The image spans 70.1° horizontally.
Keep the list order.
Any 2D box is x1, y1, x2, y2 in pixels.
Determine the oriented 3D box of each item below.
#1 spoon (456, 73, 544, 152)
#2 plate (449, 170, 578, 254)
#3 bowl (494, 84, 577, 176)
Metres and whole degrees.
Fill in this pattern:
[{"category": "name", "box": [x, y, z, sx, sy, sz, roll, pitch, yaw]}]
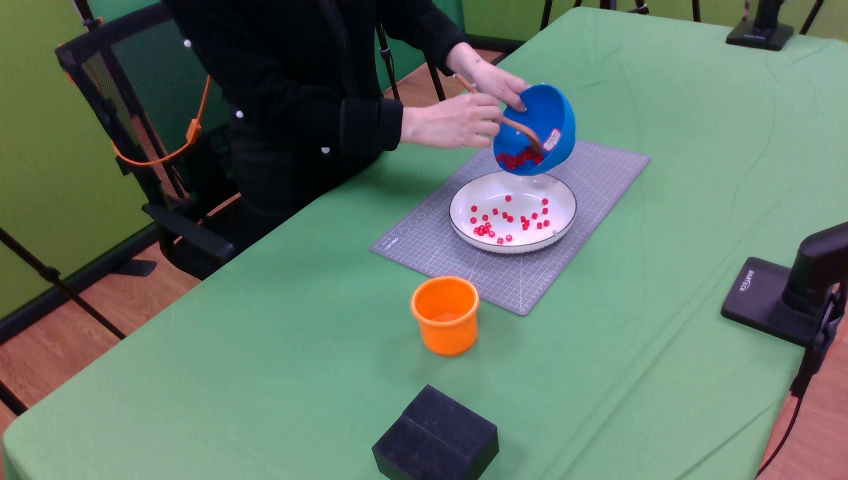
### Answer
[{"category": "spoon", "box": [0.119, -0.193, 0.925, 0.021, 0.195, 0.041, -54, 29, 13]}, {"category": "plate", "box": [0.146, -0.044, 0.993, 0.209, 0.038, 0.208, -5, 40, 5]}, {"category": "bowl", "box": [0.194, -0.167, 0.981, 0.077, 0.151, 0.150, 17, 24, -37]}]
